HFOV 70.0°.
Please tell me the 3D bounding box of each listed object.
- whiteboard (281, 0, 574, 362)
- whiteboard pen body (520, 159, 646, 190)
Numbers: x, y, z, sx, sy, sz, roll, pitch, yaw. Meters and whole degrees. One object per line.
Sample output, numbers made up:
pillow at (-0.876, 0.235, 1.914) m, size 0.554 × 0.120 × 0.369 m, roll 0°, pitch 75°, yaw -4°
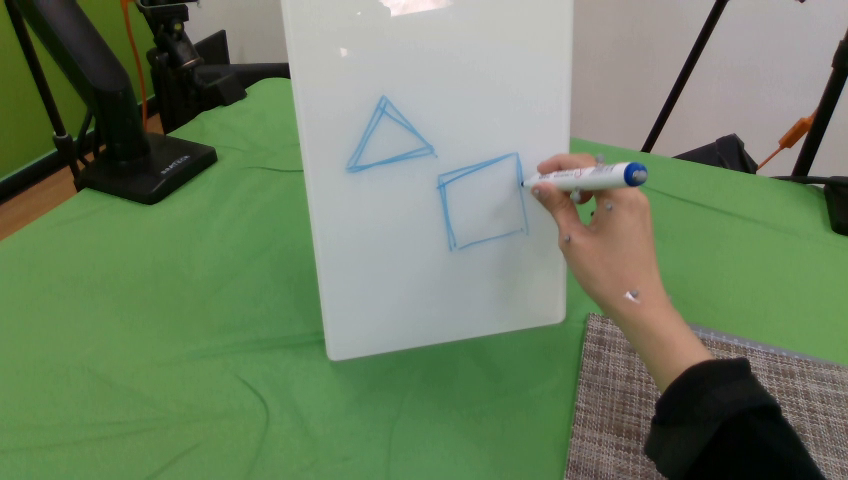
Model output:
whiteboard at (0.001, -0.077, 0.538) m, size 0.218 × 0.307 × 0.142 m, roll -8°, pitch 20°, yaw -11°
whiteboard pen body at (0.105, -0.045, 0.432) m, size 0.017 × 0.017 × 0.140 m, roll -16°, pitch 8°, yaw -20°
